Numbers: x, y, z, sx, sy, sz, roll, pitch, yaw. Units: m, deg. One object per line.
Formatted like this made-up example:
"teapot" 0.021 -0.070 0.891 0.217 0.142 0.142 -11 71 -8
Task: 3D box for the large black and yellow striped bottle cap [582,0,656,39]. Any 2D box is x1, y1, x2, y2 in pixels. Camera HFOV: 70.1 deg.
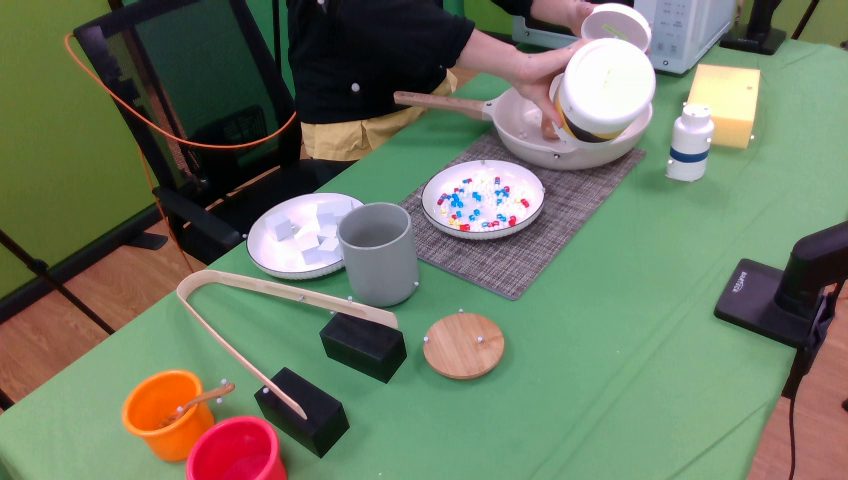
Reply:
"large black and yellow striped bottle cap" 0.308 -0.357 0.958 0.115 0.019 0.114 3 49 -3

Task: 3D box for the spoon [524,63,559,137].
"spoon" 0.235 -0.282 1.203 0.042 0.022 0.192 -12 67 -3

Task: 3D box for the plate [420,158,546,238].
"plate" 0.099 -0.067 1.017 0.209 0.038 0.208 -4 40 4

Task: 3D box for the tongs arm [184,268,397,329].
"tongs arm" -0.202 0.084 0.848 0.382 0.027 0.051 11 45 35

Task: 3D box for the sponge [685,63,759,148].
"sponge" 0.569 -0.263 1.164 0.117 0.061 0.207 13 45 22

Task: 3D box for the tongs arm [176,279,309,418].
"tongs arm" -0.254 0.132 0.801 0.028 0.028 0.384 -41 40 -23

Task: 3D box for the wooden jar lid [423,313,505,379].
"wooden jar lid" 0.053 0.142 0.800 0.108 0.021 0.108 -5 39 4

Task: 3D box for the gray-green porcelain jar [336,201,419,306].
"gray-green porcelain jar" -0.064 0.024 0.872 0.106 0.127 0.105 -4 41 4

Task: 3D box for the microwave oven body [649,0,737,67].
"microwave oven body" 0.475 -0.602 1.411 0.438 0.261 0.327 23 50 32

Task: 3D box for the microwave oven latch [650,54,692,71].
"microwave oven latch" 0.530 -0.386 1.301 0.078 0.029 0.030 23 50 32

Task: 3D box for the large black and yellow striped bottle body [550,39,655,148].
"large black and yellow striped bottle body" 0.272 -0.221 0.955 0.131 0.184 0.130 0 85 2

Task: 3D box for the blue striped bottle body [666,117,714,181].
"blue striped bottle body" 0.450 -0.166 1.022 0.063 0.121 0.063 -5 41 5

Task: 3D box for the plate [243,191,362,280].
"plate" -0.188 -0.005 0.992 0.207 0.039 0.206 -4 41 4

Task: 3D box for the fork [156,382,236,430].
"fork" -0.262 0.189 0.690 0.018 0.206 0.028 49 43 -7

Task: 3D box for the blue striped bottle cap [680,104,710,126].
"blue striped bottle cap" 0.443 -0.205 0.989 0.044 0.021 0.044 -1 42 1

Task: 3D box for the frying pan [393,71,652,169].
"frying pan" 0.176 -0.248 1.166 0.487 0.103 0.306 12 43 9

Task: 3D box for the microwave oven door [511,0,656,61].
"microwave oven door" 0.351 -0.540 1.349 0.353 0.245 0.039 24 50 31
